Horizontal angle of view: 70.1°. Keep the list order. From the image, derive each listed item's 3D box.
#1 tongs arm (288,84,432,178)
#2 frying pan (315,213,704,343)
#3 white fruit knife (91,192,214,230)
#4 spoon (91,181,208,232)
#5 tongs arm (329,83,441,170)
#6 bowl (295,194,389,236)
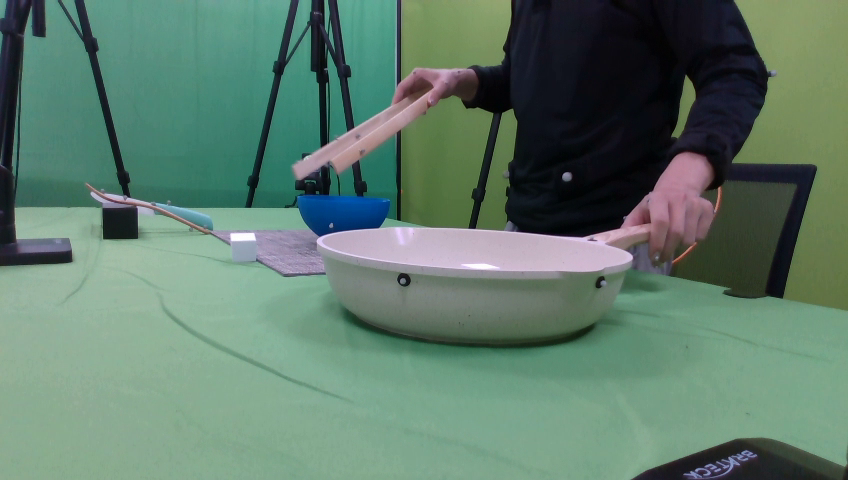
[{"bbox_3d":[-0.096,-0.202,1.074,0.050,0.026,0.386,-6,25,37],"label":"tongs arm"},{"bbox_3d":[0.133,0.014,0.629,0.490,0.102,0.305,-11,14,-29],"label":"frying pan"},{"bbox_3d":[-0.477,-0.055,1.077,0.208,0.027,0.016,15,-5,-30],"label":"white fruit knife"},{"bbox_3d":[-0.461,-0.053,1.023,0.195,0.021,0.041,21,22,-24],"label":"spoon"},{"bbox_3d":[-0.053,-0.206,1.043,0.028,0.028,0.388,-12,22,35],"label":"tongs arm"},{"bbox_3d":[-0.132,-0.032,0.980,0.151,0.077,0.151,2,7,0],"label":"bowl"}]
